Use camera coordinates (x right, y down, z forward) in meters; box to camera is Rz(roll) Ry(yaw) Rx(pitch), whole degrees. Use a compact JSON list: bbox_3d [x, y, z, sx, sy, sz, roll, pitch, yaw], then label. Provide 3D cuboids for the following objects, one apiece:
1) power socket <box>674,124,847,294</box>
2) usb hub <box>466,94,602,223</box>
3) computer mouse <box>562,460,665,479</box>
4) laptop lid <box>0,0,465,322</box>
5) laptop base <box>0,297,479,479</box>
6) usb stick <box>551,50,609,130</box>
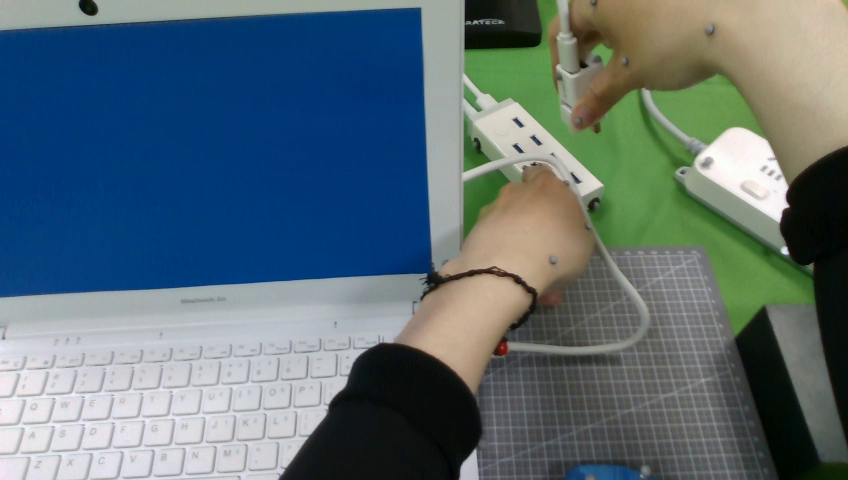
[{"bbox_3d":[0.303,-0.013,0.458,0.072,0.033,0.224,-37,62,-23],"label":"power socket"},{"bbox_3d":[0.089,-0.071,0.508,0.049,0.025,0.124,-27,59,-17],"label":"usb hub"},{"bbox_3d":[0.103,0.175,0.324,0.062,0.041,0.116,8,51,10],"label":"computer mouse"},{"bbox_3d":[-0.153,-0.037,0.350,0.357,0.244,0.013,-4,42,0],"label":"laptop lid"},{"bbox_3d":[-0.143,0.149,0.364,0.354,0.023,0.233,-3,58,-1],"label":"laptop base"},{"bbox_3d":[0.108,-0.099,0.414,0.027,0.060,0.021,-42,55,1],"label":"usb stick"}]
